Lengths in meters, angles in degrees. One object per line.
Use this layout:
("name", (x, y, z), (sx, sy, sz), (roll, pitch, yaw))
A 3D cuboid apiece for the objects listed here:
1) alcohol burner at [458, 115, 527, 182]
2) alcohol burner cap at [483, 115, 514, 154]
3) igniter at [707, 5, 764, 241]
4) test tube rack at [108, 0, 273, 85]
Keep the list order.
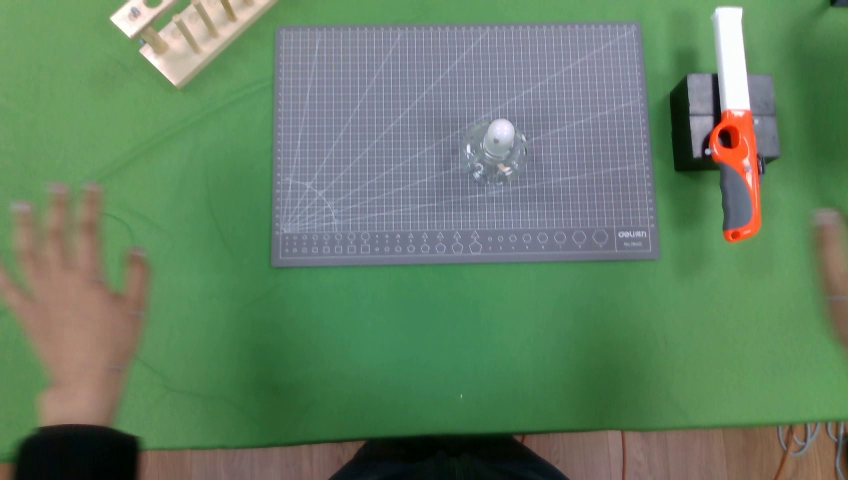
("alcohol burner", (0.078, -0.106, 0.665), (0.078, 0.119, 0.077), (1, 78, -2))
("alcohol burner cap", (0.079, -0.112, 0.629), (0.034, 0.048, 0.034), (0, 82, 3))
("igniter", (0.343, -0.133, 0.674), (0.057, 0.025, 0.275), (2, 79, 1))
("test tube rack", (-0.235, -0.301, 0.706), (0.066, 0.085, 0.242), (44, 82, 6))
